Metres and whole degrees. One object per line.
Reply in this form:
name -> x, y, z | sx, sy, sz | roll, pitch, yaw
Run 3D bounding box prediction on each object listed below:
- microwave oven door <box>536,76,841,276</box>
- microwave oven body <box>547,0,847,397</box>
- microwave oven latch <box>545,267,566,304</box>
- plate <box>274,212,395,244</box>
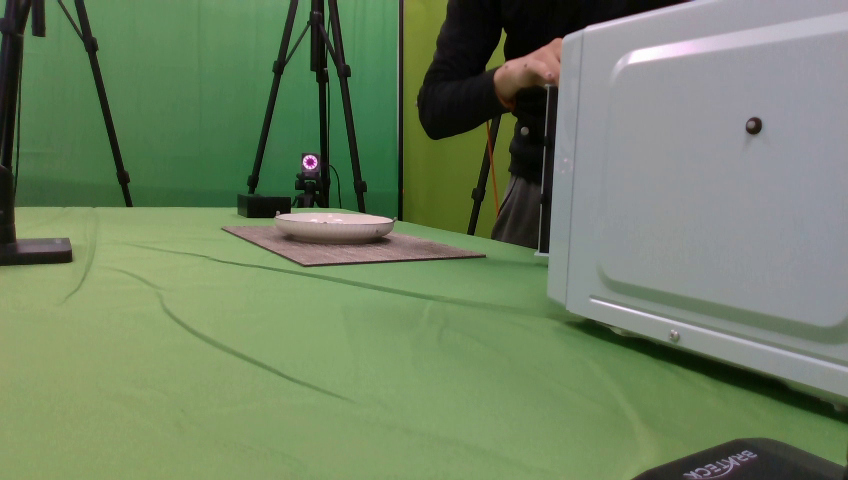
microwave oven door -> 0.333, -0.089, 0.805 | 0.354, 0.243, 0.039 | 4, 8, 23
microwave oven body -> 0.378, -0.045, 0.509 | 0.444, 0.260, 0.324 | -2, 7, -31
microwave oven latch -> 0.148, 0.039, 0.555 | 0.079, 0.029, 0.030 | -1, 7, -28
plate -> -0.157, -0.022, 1.066 | 0.209, 0.038, 0.209 | 2, 7, 0
